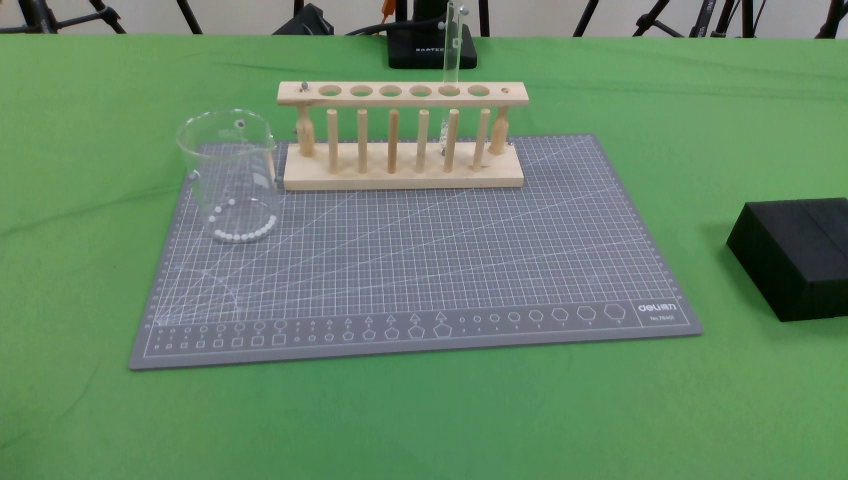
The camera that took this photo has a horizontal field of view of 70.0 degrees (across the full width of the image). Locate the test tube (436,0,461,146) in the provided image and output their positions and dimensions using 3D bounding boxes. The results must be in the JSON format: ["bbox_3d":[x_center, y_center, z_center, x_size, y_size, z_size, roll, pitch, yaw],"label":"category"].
[{"bbox_3d":[0.023,-0.159,0.595,0.017,0.151,0.017,2,39,-1],"label":"test tube"}]

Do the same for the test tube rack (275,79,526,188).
[{"bbox_3d":[-0.022,-0.108,0.610,0.243,0.086,0.066,-1,44,-5],"label":"test tube rack"}]

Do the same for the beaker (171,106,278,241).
[{"bbox_3d":[-0.167,-0.055,0.534,0.084,0.101,0.073,12,44,8],"label":"beaker"}]
